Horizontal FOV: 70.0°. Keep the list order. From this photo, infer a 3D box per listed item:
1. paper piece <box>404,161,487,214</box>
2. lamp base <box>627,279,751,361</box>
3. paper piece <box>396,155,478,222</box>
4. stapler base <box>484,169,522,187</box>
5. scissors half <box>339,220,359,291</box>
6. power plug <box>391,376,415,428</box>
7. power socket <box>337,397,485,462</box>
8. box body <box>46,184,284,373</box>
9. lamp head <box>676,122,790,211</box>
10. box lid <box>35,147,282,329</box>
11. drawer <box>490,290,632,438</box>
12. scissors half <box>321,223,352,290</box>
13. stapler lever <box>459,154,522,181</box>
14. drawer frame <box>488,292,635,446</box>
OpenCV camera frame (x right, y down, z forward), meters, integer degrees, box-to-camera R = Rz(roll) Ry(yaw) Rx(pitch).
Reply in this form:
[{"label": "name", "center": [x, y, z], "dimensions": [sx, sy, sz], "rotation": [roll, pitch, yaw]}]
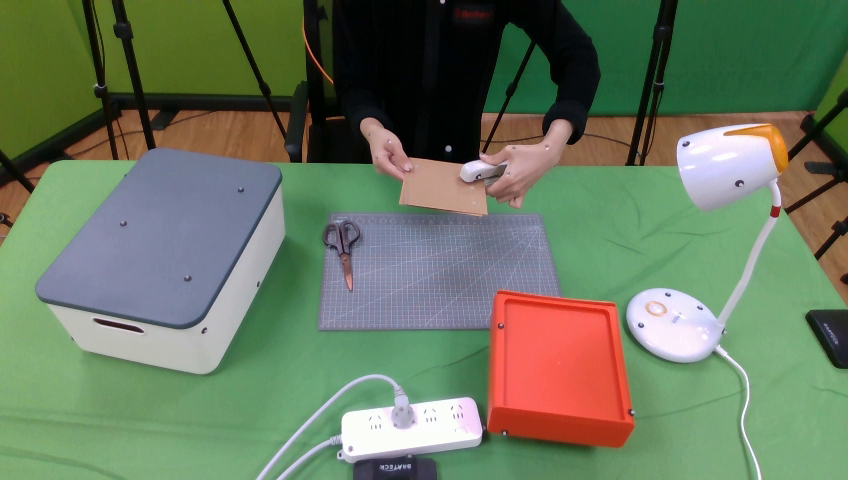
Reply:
[{"label": "paper piece", "center": [0.036, -0.094, 1.005], "dimensions": [0.136, 0.009, 0.137], "rotation": [10, 39, -7]}, {"label": "lamp base", "center": [0.460, 0.100, 1.027], "dimensions": [0.178, 0.181, 0.160], "rotation": [27, 51, 17]}, {"label": "paper piece", "center": [0.028, -0.088, 1.002], "dimensions": [0.135, 0.004, 0.135], "rotation": [13, 44, -1]}, {"label": "stapler base", "center": [0.112, -0.114, 1.049], "dimensions": [0.131, 0.024, 0.041], "rotation": [-14, 50, -28]}, {"label": "scissors half", "center": [-0.144, 0.026, 1.162], "dimensions": [0.040, 0.013, 0.174], "rotation": [-7, 50, 1]}, {"label": "power plug", "center": [-0.030, 0.249, 0.917], "dimensions": [0.035, 0.053, 0.072], "rotation": [3, 46, 0]}, {"label": "power socket", "center": [-0.018, 0.285, 0.915], "dimensions": [0.227, 0.033, 0.071], "rotation": [-4, 46, -8]}, {"label": "box body", "center": [-0.414, 0.029, 1.040], "dimensions": [0.254, 0.161, 0.362], "rotation": [10, 46, 5]}, {"label": "lamp head", "center": [0.423, -0.104, 0.819], "dimensions": [0.122, 0.113, 0.112], "rotation": [-13, 33, 40]}, {"label": "box lid", "center": [-0.411, -0.023, 0.987], "dimensions": [0.263, 0.015, 0.369], "rotation": [10, 47, 5]}, {"label": "drawer", "center": [0.203, 0.185, 0.934], "dimensions": [0.194, 0.073, 0.210], "rotation": [7, 47, 1]}, {"label": "scissors half", "center": [-0.163, 0.030, 1.159], "dimensions": [0.040, 0.013, 0.174], "rotation": [-16, 51, -14]}, {"label": "stapler lever", "center": [0.115, -0.126, 1.039], "dimensions": [0.118, 0.040, 0.026], "rotation": [-21, 53, -20]}, {"label": "drawer frame", "center": [0.204, 0.191, 0.931], "dimensions": [0.202, 0.083, 0.212], "rotation": [7, 45, 2]}]
